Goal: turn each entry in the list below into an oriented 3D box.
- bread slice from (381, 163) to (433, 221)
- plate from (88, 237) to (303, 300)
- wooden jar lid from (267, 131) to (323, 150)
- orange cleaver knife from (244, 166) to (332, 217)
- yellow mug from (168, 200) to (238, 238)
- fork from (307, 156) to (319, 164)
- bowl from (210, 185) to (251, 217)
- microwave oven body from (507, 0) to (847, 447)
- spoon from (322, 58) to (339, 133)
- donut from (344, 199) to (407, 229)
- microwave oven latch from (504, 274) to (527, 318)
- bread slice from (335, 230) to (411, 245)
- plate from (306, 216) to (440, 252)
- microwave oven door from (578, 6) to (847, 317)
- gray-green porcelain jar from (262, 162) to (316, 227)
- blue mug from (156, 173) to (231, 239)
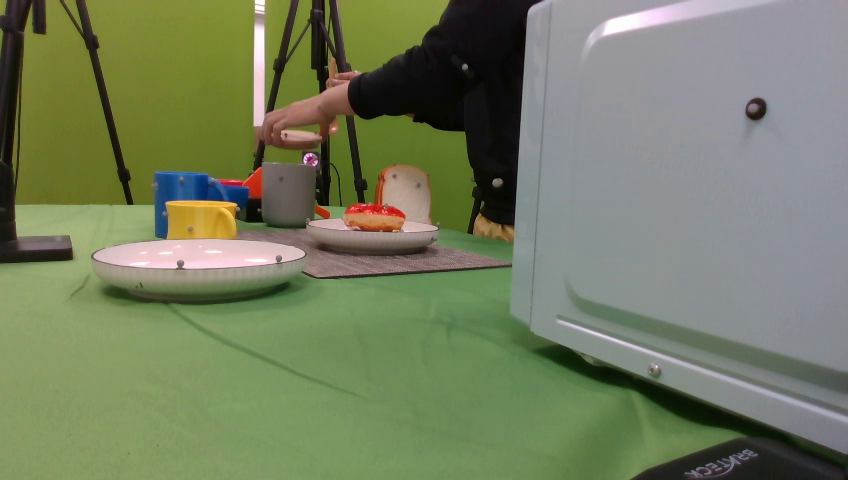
[{"bbox_3d":[-0.035,-0.076,1.124,0.107,0.134,0.018,-4,0,-26],"label":"bread slice"},{"bbox_3d":[-0.233,0.029,0.637,0.208,0.039,0.207,2,7,0],"label":"plate"},{"bbox_3d":[-0.256,-0.198,1.200,0.108,0.020,0.108,4,20,-1],"label":"wooden jar lid"},{"bbox_3d":[-0.301,-0.089,1.352,0.212,0.077,0.012,32,-9,-34],"label":"orange cleaver knife"},{"bbox_3d":[-0.320,-0.023,0.904,0.130,0.064,0.100,9,10,36],"label":"yellow mug"},{"bbox_3d":[-0.331,-0.144,1.506,0.207,0.018,0.028,-42,-19,22],"label":"fork"},{"bbox_3d":[-0.408,-0.064,1.155,0.151,0.077,0.151,2,8,0],"label":"bowl"},{"bbox_3d":[0.331,-0.042,0.425,0.444,0.260,0.324,-2,8,-31],"label":"microwave oven body"},{"bbox_3d":[-0.218,-0.344,1.435,0.041,0.193,0.021,2,-8,2],"label":"spoon"},{"bbox_3d":[-0.076,-0.039,0.949,0.099,0.048,0.099,3,4,0],"label":"donut"},{"bbox_3d":[0.100,0.041,0.471,0.079,0.029,0.030,-1,8,-28],"label":"microwave oven latch"},{"bbox_3d":[-0.074,-0.005,0.938,0.105,0.019,0.131,-1,4,-19],"label":"bread slice"},{"bbox_3d":[-0.079,-0.011,0.950,0.209,0.038,0.209,2,8,0],"label":"plate"},{"bbox_3d":[0.294,-0.067,0.570,0.358,0.243,0.039,-3,9,-31],"label":"microwave oven door"},{"bbox_3d":[-0.271,-0.092,1.217,0.106,0.126,0.106,2,7,0],"label":"gray-green porcelain jar"},{"bbox_3d":[-0.381,-0.057,1.004,0.117,0.106,0.082,0,8,-12],"label":"blue mug"}]
